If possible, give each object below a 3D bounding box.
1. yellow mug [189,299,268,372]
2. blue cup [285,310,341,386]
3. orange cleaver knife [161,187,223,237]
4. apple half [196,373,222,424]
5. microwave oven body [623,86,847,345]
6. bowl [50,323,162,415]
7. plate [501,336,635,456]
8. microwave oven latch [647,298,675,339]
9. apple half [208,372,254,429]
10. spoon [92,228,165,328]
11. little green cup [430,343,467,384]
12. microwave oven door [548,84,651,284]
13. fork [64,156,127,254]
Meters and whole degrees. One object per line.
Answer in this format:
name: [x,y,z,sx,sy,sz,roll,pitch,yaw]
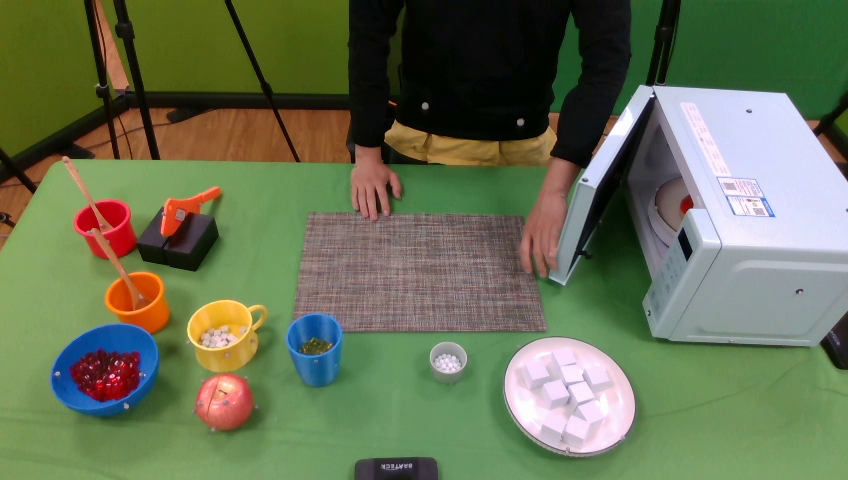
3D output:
yellow mug: [-0.316,0.148,1.002,0.131,0.064,0.099,-32,56,-31]
blue cup: [-0.170,0.179,0.958,0.093,0.101,0.092,2,44,-1]
orange cleaver knife: [-0.448,-0.058,1.181,0.012,0.077,0.211,13,17,6]
apple half: [-0.322,0.239,0.907,0.033,0.081,0.081,7,46,-1]
microwave oven body: [0.567,-0.053,1.118,0.326,0.261,0.439,2,45,-1]
bowl: [-0.472,0.209,0.924,0.151,0.077,0.150,3,45,-2]
plate: [0.225,0.248,0.963,0.208,0.039,0.206,2,46,-2]
microwave oven latch: [0.412,0.134,1.060,0.030,0.029,0.078,5,45,2]
apple half: [-0.282,0.244,0.908,0.053,0.075,0.080,7,43,-1]
spoon: [-0.496,0.063,1.014,0.041,0.194,0.021,-33,12,-31]
little green cup: [0.038,0.203,0.994,0.061,0.039,0.061,2,46,-2]
microwave oven door: [0.340,-0.113,1.154,0.039,0.245,0.355,25,49,18]
fork: [-0.614,-0.064,1.130,0.028,0.018,0.207,-29,97,-17]
